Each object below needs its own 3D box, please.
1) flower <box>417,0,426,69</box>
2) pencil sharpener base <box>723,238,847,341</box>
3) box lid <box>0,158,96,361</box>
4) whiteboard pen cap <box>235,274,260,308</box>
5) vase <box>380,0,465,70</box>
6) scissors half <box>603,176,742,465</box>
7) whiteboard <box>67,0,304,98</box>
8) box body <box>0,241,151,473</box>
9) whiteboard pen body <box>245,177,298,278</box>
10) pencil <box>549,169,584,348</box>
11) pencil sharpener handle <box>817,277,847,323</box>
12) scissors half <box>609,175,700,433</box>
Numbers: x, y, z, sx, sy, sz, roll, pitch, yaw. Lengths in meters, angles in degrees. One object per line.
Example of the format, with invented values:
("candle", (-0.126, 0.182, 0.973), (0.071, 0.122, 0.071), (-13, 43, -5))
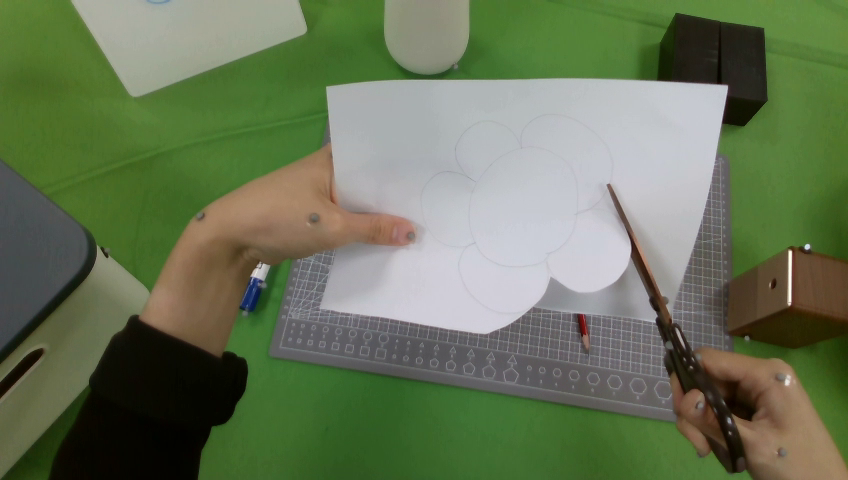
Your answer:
("flower", (-0.006, -0.313, 0.558), (0.044, 0.365, 0.038), (2, 51, 3))
("pencil sharpener base", (0.343, 0.050, 0.567), (0.077, 0.107, 0.061), (13, 69, 0))
("box lid", (-0.465, -0.001, 0.459), (0.370, 0.015, 0.262), (34, 72, 11))
("whiteboard pen cap", (-0.174, 0.049, 0.601), (0.018, 0.018, 0.033), (14, 65, 5))
("vase", (-0.002, -0.270, 0.631), (0.098, 0.201, 0.097), (0, 68, 0))
("scissors half", (0.137, 0.044, 0.338), (0.013, 0.040, 0.175), (-24, 86, 2))
("whiteboard", (-0.288, -0.346, 0.628), (0.217, 0.308, 0.142), (-24, 52, -9))
("box body", (-0.465, 0.027, 0.528), (0.362, 0.161, 0.253), (34, 73, 11))
("whiteboard pen body", (-0.159, -0.003, 0.623), (0.017, 0.017, 0.140), (15, 68, 5))
("pencil", (0.148, 0.016, 0.627), (0.012, 0.012, 0.192), (-5, 71, -3))
("pencil sharpener handle", (0.393, 0.059, 0.555), (0.030, 0.068, 0.035), (13, 64, 0))
("scissors half", (0.138, 0.041, 0.359), (0.013, 0.040, 0.176), (-23, 109, 7))
